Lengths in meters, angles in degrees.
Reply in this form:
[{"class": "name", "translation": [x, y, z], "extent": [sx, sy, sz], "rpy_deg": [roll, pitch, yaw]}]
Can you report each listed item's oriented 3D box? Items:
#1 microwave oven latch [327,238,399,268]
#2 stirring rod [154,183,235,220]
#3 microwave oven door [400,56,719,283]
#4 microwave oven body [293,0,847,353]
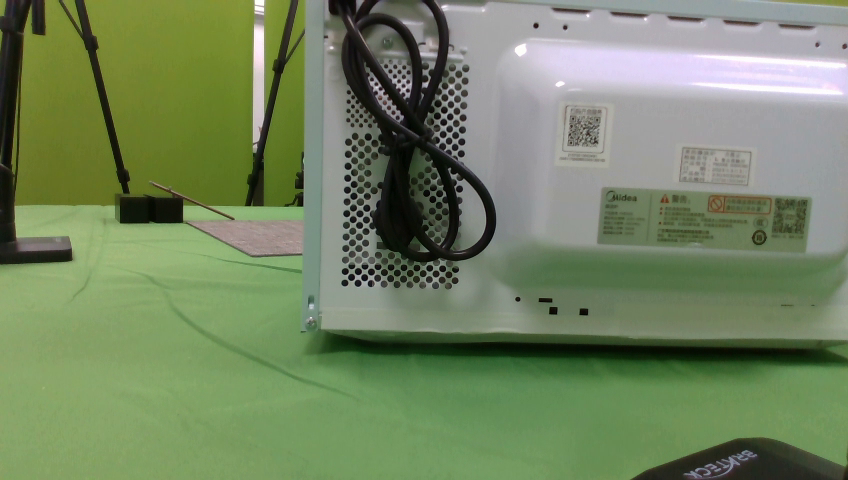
[{"class": "microwave oven latch", "translation": [-0.069, 0.015, 0.694], "extent": [0.079, 0.029, 0.030], "rpy_deg": [3, 7, -2]}, {"class": "stirring rod", "translation": [-0.472, -0.079, 1.251], "extent": [0.177, 0.006, 0.014], "rpy_deg": [27, 3, -35]}, {"class": "microwave oven door", "translation": [0.155, -0.077, 0.697], "extent": [0.356, 0.243, 0.039], "rpy_deg": [2, 8, -5]}, {"class": "microwave oven body", "translation": [0.122, -0.055, 0.550], "extent": [0.442, 0.260, 0.325], "rpy_deg": [3, 7, -5]}]
